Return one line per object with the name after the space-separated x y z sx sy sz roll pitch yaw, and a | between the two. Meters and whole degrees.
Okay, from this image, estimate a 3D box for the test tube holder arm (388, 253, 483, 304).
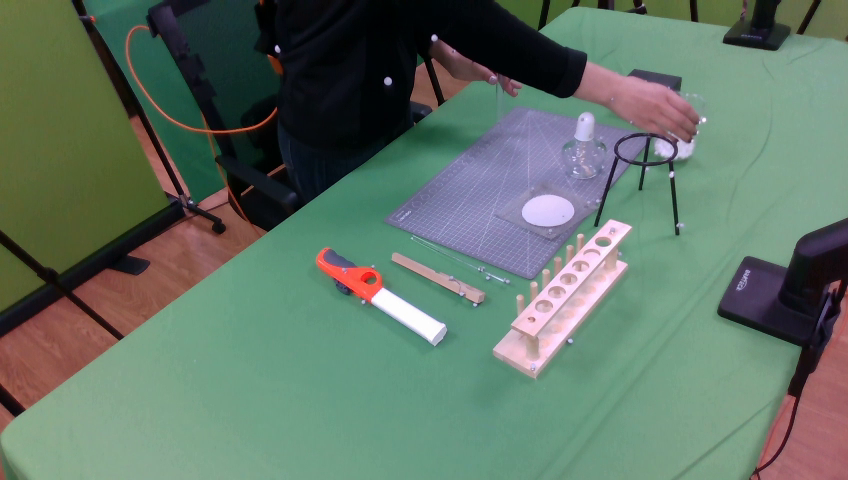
0.014 0.056 0.915 0.177 0.015 0.013 23 13 32 | test tube holder arm

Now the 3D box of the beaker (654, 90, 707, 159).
0.442 -0.200 1.049 0.073 0.100 0.084 13 43 23 | beaker

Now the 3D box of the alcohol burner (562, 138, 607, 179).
0.280 -0.167 1.052 0.078 0.119 0.077 -5 38 4 | alcohol burner

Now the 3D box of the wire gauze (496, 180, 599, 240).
0.206 -0.050 1.012 0.125 0.011 0.120 -34 45 -26 | wire gauze

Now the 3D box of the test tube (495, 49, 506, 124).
0.144 -0.285 1.133 0.017 0.151 0.017 -2 43 2 | test tube

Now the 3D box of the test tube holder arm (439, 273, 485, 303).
0.052 0.071 0.896 0.087 0.015 0.010 24 13 33 | test tube holder arm

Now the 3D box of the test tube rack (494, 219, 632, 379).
0.191 0.068 0.818 0.066 0.085 0.243 25 51 35 | test tube rack

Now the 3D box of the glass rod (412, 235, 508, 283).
0.051 0.028 0.951 0.198 0.008 0.008 25 51 37 | glass rod

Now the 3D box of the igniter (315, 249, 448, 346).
-0.074 0.078 0.902 0.274 0.025 0.057 28 63 36 | igniter

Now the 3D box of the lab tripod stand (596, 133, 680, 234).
0.338 -0.090 0.940 0.148 0.132 0.147 -7 38 6 | lab tripod stand

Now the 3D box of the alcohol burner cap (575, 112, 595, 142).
0.276 -0.194 1.028 0.034 0.048 0.033 -2 44 3 | alcohol burner cap
